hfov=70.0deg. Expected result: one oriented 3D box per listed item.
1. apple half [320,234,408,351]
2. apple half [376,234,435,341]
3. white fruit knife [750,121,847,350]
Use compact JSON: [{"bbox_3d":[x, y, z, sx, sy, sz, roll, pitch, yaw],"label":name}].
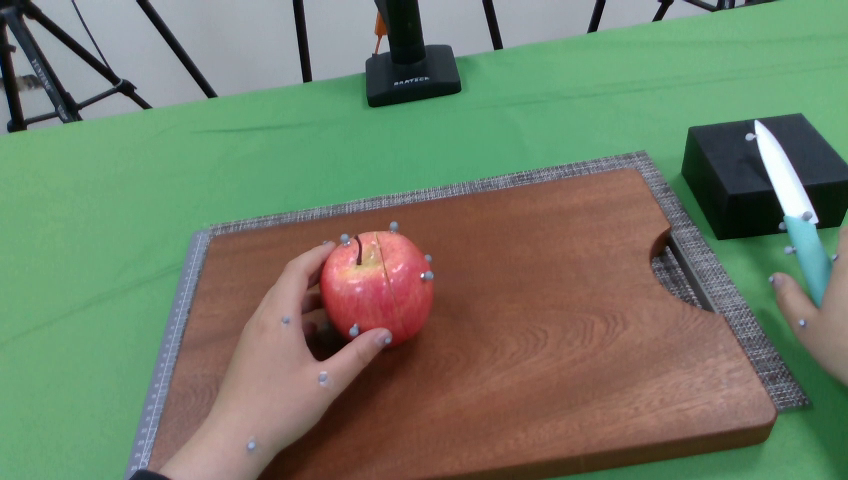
[{"bbox_3d":[-0.046,0.043,0.435,0.053,0.075,0.080,-18,46,-2],"label":"apple half"},{"bbox_3d":[-0.008,0.032,0.438,0.033,0.082,0.080,-18,42,-2],"label":"apple half"},{"bbox_3d":[0.288,-0.010,0.462,0.027,0.016,0.205,-8,61,3],"label":"white fruit knife"}]
